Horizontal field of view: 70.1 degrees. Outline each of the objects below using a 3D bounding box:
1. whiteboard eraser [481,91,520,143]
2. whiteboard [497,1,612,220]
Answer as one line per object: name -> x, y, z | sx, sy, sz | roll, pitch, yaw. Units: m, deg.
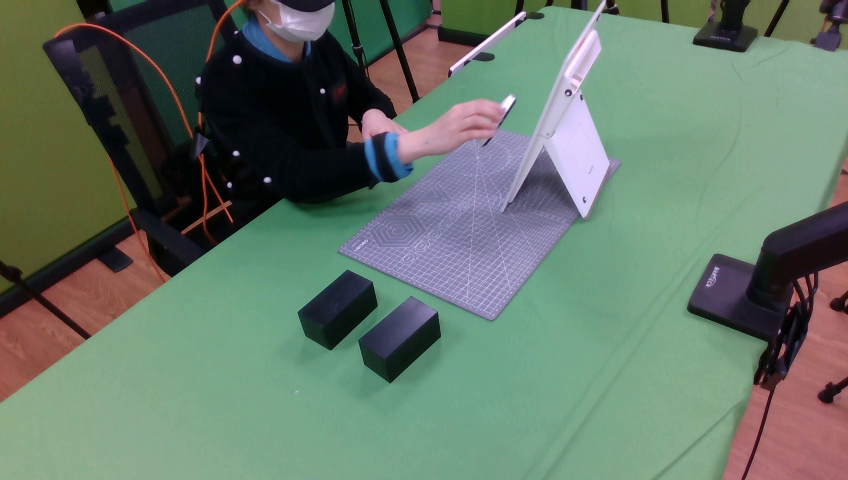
whiteboard eraser -> 0.124, -0.201, 0.990 | 0.019, 0.041, 0.101 | 35, 76, -6
whiteboard -> 0.260, -0.178, 0.963 | 0.143, 0.306, 0.217 | 28, 49, 9
